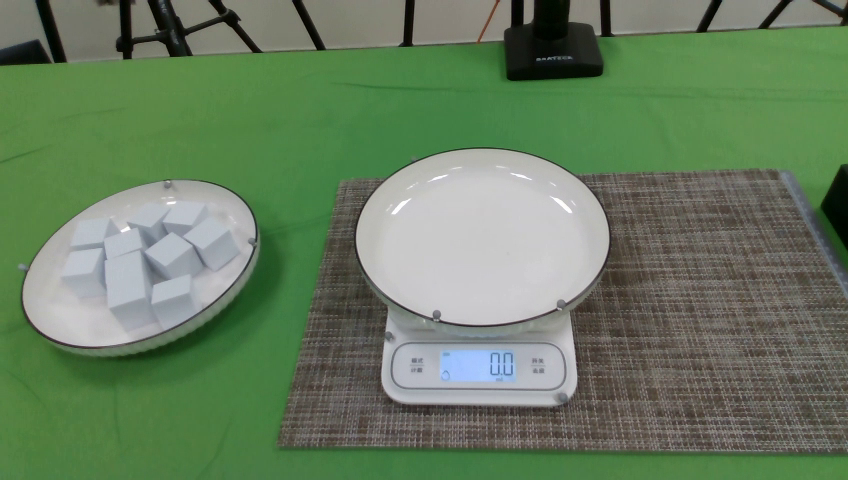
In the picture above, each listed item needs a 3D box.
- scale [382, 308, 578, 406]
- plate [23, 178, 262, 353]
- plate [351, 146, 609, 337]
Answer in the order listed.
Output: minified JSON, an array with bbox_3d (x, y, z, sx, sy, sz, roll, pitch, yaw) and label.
[{"bbox_3d":[0.047,0.043,0.509,0.148,0.032,0.199,0,46,6],"label":"scale"},{"bbox_3d":[-0.251,0.022,0.561,0.209,0.038,0.207,-3,45,3],"label":"plate"},{"bbox_3d":[0.045,0.000,0.505,0.207,0.039,0.205,-2,46,3],"label":"plate"}]
